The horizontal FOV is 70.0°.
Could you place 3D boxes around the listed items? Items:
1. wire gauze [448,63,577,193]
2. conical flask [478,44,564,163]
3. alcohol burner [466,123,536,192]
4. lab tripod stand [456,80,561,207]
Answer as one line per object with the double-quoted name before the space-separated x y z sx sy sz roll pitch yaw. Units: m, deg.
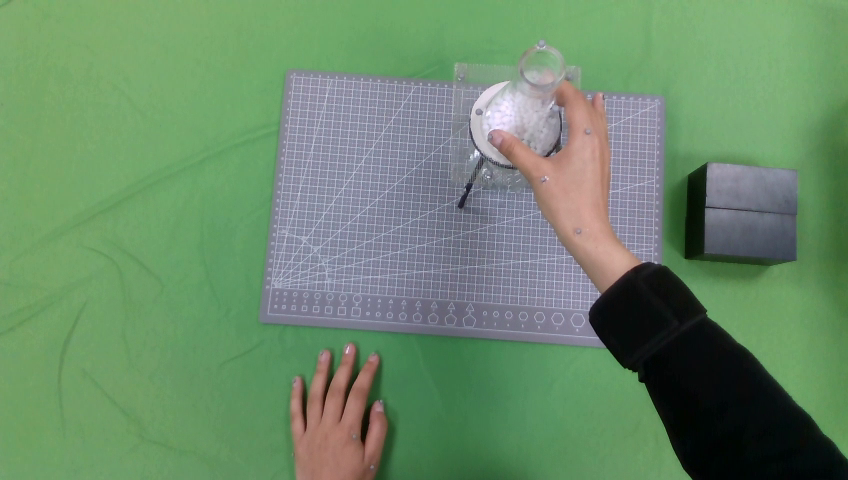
"wire gauze" 0.086 -0.109 0.577 0.125 0.011 0.121 4 83 -2
"conical flask" 0.088 -0.119 0.518 0.075 0.122 0.075 0 79 0
"alcohol burner" 0.084 -0.093 0.651 0.078 0.119 0.077 0 82 2
"lab tripod stand" 0.084 -0.104 0.642 0.148 0.132 0.148 0 81 1
